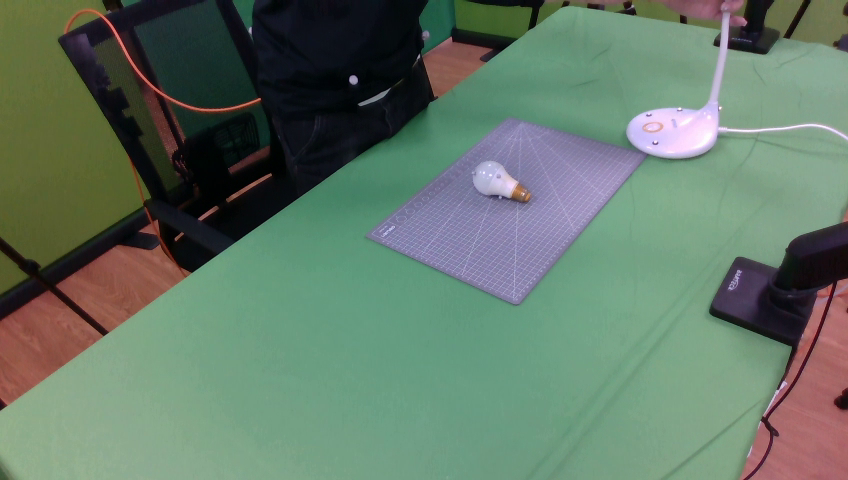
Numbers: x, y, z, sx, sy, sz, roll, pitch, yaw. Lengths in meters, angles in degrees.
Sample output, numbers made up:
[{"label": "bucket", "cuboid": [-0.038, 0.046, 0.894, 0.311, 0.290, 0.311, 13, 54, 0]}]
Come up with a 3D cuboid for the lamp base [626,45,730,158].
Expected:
[{"label": "lamp base", "cuboid": [0.467, -0.262, 1.085, 0.179, 0.181, 0.159, -5, 41, -1]}]

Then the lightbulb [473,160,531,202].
[{"label": "lightbulb", "cuboid": [0.135, -0.097, 1.038, 0.107, 0.059, 0.059, 29, 50, 15]}]
